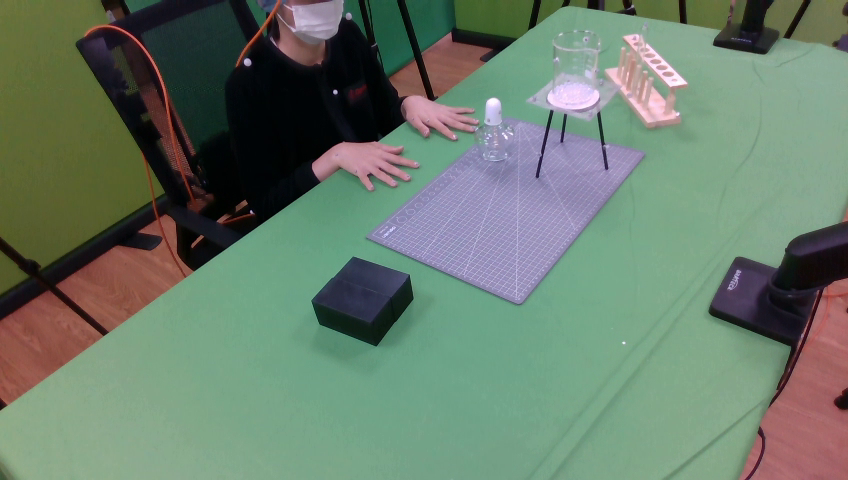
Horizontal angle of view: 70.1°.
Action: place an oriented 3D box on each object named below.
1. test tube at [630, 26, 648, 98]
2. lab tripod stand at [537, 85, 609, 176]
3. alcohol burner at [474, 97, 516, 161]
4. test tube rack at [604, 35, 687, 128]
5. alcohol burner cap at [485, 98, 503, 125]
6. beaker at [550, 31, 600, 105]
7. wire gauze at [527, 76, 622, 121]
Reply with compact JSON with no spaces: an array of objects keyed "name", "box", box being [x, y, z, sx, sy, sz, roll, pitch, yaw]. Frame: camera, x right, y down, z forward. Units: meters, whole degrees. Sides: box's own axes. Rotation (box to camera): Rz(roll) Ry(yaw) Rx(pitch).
[{"name":"test tube","box":[0.426,-0.350,1.199,0.017,0.151,0.017,-4,42,4]},{"name":"lab tripod stand","box":[0.259,-0.192,1.068,0.148,0.132,0.147,-4,43,4]},{"name":"alcohol burner","box":[0.131,-0.208,1.121,0.078,0.119,0.077,-6,40,5]},{"name":"test tube rack","box":[0.447,-0.330,1.242,0.067,0.085,0.241,-9,41,-2]},{"name":"alcohol burner cap","box":[0.126,-0.234,1.097,0.034,0.048,0.033,-3,39,3]},{"name":"beaker","box":[0.250,-0.281,0.996,0.074,0.101,0.083,-37,49,-27]},{"name":"wire gauze","box":[0.255,-0.247,1.030,0.124,0.011,0.122,23,49,34]}]
